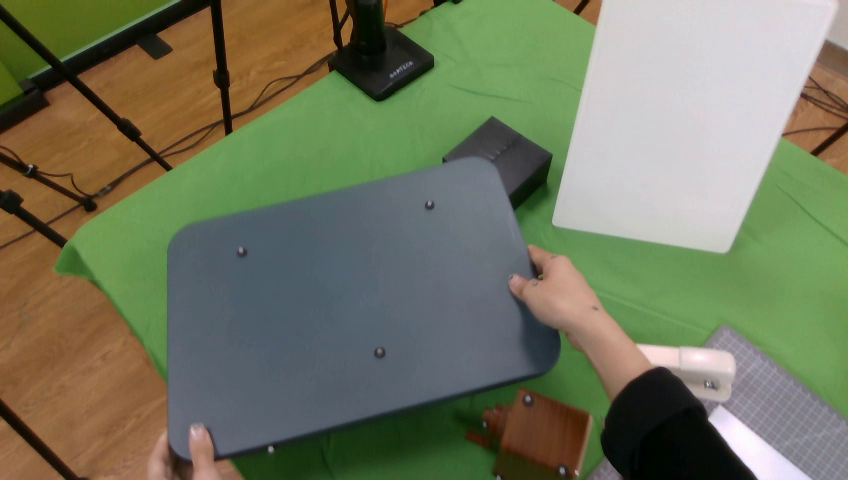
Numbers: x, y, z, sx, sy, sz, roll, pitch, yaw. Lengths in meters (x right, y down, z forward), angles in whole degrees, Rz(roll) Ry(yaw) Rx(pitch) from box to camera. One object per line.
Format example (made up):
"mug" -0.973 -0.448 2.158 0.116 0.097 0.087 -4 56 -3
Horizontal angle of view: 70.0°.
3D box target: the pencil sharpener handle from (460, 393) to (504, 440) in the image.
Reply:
"pencil sharpener handle" 0.053 0.165 0.570 0.030 0.068 0.036 18 44 12

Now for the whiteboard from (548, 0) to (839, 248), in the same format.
"whiteboard" 0.286 -0.167 0.715 0.217 0.308 0.143 10 39 7

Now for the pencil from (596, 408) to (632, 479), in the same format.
"pencil" 0.207 0.253 0.586 0.012 0.012 0.192 -13 57 -8

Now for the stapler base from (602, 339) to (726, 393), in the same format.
"stapler base" 0.261 0.132 0.655 0.130 0.024 0.041 8 54 9

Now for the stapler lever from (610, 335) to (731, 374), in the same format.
"stapler lever" 0.258 0.118 0.634 0.118 0.040 0.026 9 54 9

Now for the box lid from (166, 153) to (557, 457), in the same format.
"box lid" -0.078 0.048 0.612 0.372 0.015 0.260 -14 58 -4

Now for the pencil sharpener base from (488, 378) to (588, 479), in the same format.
"pencil sharpener base" 0.102 0.184 0.573 0.076 0.108 0.061 18 60 12
